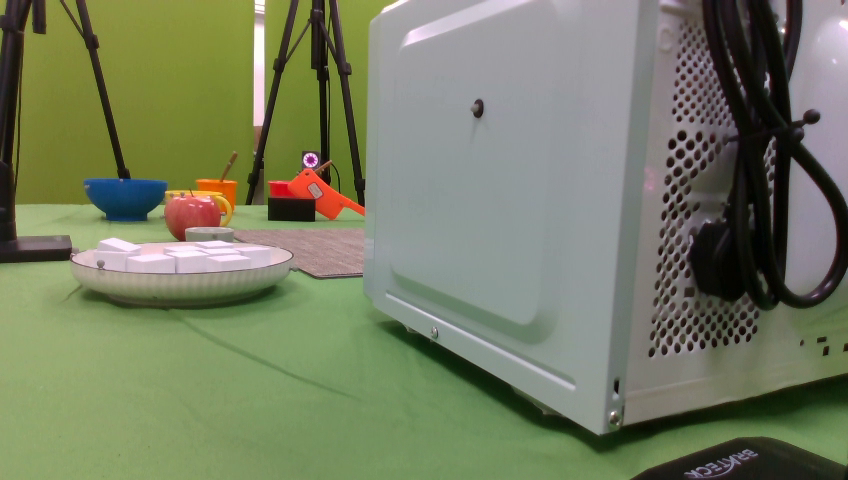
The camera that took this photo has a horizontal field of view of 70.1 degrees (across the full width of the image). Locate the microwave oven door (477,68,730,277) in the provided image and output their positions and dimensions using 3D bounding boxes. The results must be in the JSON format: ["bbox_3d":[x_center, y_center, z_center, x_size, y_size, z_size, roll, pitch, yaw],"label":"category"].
[{"bbox_3d":[0.219,-0.097,0.825,0.039,0.243,0.354,-5,10,-42],"label":"microwave oven door"}]

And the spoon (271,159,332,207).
[{"bbox_3d":[-0.308,-0.142,1.514,0.193,0.021,0.041,-41,5,9],"label":"spoon"}]

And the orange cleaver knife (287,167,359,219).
[{"bbox_3d":[-0.209,-0.089,1.383,0.212,0.077,0.012,31,4,-15],"label":"orange cleaver knife"}]

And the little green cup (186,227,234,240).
[{"bbox_3d":[-0.284,0.005,0.805,0.061,0.038,0.061,2,8,0],"label":"little green cup"}]

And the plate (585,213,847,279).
[{"bbox_3d":[0.243,0.002,0.512,0.209,0.038,0.209,2,7,0],"label":"plate"}]

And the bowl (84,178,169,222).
[{"bbox_3d":[-0.584,-0.078,1.194,0.151,0.077,0.151,3,8,0],"label":"bowl"}]

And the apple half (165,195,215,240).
[{"bbox_3d":[-0.377,-0.038,0.964,0.082,0.081,0.032,-4,15,-39],"label":"apple half"}]

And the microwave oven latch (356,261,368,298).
[{"bbox_3d":[-0.020,0.033,0.530,0.079,0.029,0.030,0,7,-26],"label":"microwave oven latch"}]

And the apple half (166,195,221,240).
[{"bbox_3d":[-0.351,-0.031,0.935,0.081,0.074,0.053,1,11,-40],"label":"apple half"}]

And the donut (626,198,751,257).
[{"bbox_3d":[0.226,-0.010,0.521,0.099,0.048,0.099,3,6,0],"label":"donut"}]

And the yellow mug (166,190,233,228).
[{"bbox_3d":[-0.415,-0.057,1.132,0.130,0.064,0.100,6,8,16],"label":"yellow mug"}]

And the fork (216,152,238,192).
[{"bbox_3d":[-0.455,-0.132,1.367,0.028,0.018,0.207,-2,-35,-37],"label":"fork"}]

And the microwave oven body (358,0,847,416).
[{"bbox_3d":[0.211,-0.047,0.475,0.444,0.260,0.324,-1,7,-28],"label":"microwave oven body"}]

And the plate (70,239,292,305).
[{"bbox_3d":[-0.242,0.031,0.618,0.208,0.039,0.207,2,8,0],"label":"plate"}]
